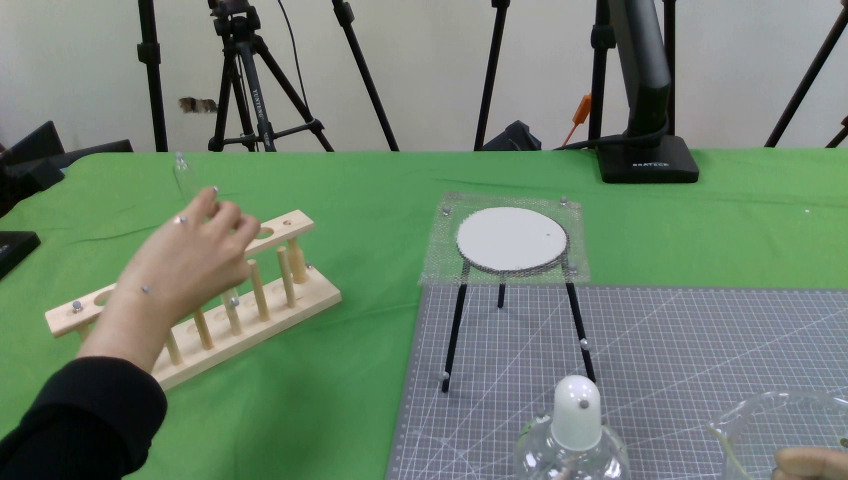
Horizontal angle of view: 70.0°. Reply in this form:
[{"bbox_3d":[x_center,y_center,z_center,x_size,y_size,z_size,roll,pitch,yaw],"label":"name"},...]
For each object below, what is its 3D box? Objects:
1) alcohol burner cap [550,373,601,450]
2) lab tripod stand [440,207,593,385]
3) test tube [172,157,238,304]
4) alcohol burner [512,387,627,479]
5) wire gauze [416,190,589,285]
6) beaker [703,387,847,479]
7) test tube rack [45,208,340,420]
[{"bbox_3d":[0.097,0.105,0.384,0.034,0.048,0.033,-5,34,4],"label":"alcohol burner cap"},{"bbox_3d":[0.076,0.050,0.512,0.148,0.132,0.147,-2,34,1],"label":"lab tripod stand"},{"bbox_3d":[-0.187,-0.004,0.521,0.017,0.151,0.017,-3,38,3],"label":"test tube"},{"bbox_3d":[0.098,0.135,0.404,0.078,0.120,0.077,-3,37,2],"label":"alcohol burner"},{"bbox_3d":[0.063,-0.004,0.473,0.121,0.011,0.124,3,36,9],"label":"wire gauze"},{"bbox_3d":[0.169,0.129,0.278,0.083,0.101,0.074,12,33,35],"label":"beaker"},{"bbox_3d":[-0.206,0.061,0.575,0.242,0.086,0.066,-26,40,-28],"label":"test tube rack"}]
